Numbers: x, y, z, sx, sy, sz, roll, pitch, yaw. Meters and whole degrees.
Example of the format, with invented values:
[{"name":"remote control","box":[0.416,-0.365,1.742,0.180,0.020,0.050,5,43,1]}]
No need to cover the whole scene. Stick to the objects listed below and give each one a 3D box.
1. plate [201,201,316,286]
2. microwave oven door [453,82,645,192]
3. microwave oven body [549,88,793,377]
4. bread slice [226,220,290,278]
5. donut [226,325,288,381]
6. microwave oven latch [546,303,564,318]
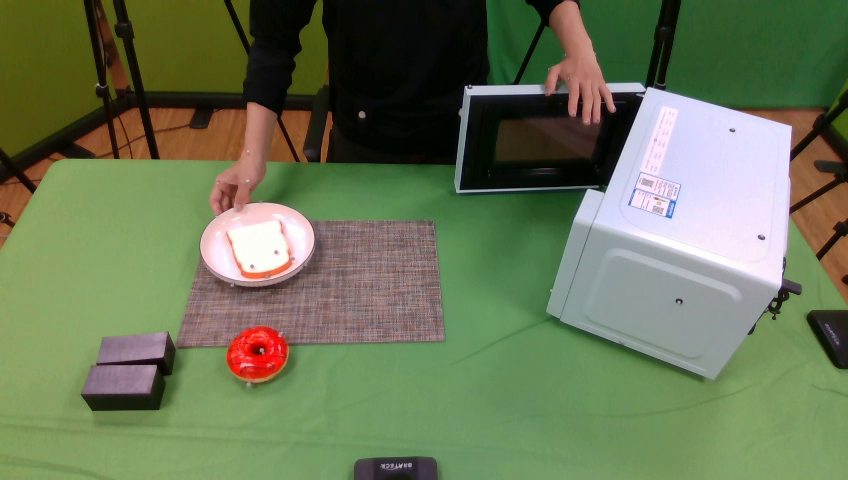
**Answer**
[{"name":"plate","box":[-0.309,0.010,1.143,0.208,0.039,0.206,4,46,-4]},{"name":"microwave oven door","box":[0.247,-0.207,1.238,0.356,0.245,0.039,-3,46,-7]},{"name":"microwave oven body","box":[0.456,-0.028,1.088,0.325,0.261,0.440,20,47,16]},{"name":"bread slice","box":[-0.306,0.016,1.139,0.105,0.019,0.130,-15,50,-19]},{"name":"donut","box":[-0.270,0.182,0.984,0.099,0.048,0.098,5,49,-5]},{"name":"microwave oven latch","box":[0.242,0.102,1.081,0.030,0.029,0.079,21,48,17]}]
